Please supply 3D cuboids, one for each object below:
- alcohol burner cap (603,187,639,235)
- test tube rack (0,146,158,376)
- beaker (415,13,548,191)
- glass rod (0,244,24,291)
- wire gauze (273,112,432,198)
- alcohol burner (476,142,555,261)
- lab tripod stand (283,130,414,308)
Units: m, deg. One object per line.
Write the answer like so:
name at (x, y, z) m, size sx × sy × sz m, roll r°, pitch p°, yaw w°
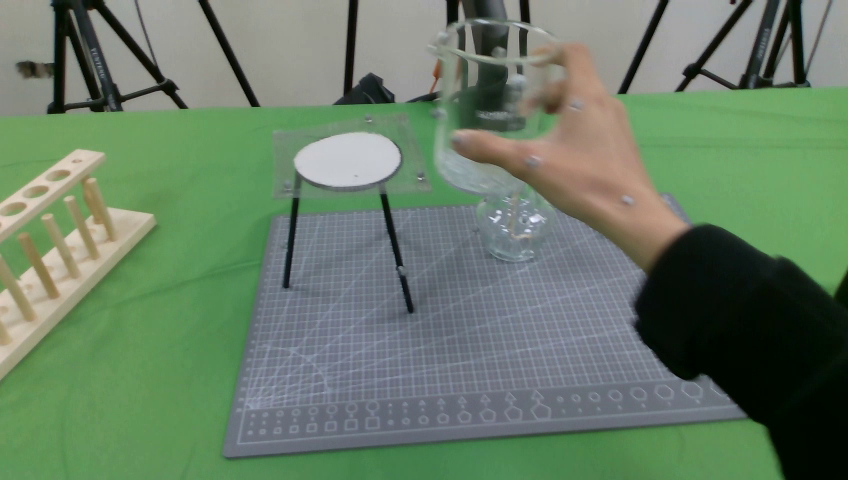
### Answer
alcohol burner cap at (0.207, -0.033, 0.632) m, size 0.034 × 0.048 × 0.033 m, roll -1°, pitch 38°, yaw 1°
test tube rack at (-0.352, 0.014, 0.548) m, size 0.066 × 0.086 × 0.240 m, roll 9°, pitch 39°, yaw 12°
beaker at (0.035, -0.090, 0.407) m, size 0.084 × 0.101 × 0.073 m, roll -4°, pitch 38°, yaw -8°
glass rod at (-0.381, -0.037, 0.506) m, size 0.008 × 0.201 × 0.008 m, roll -4°, pitch 32°, yaw 3°
wire gauze at (-0.064, -0.071, 0.501) m, size 0.125 × 0.011 × 0.120 m, roll -7°, pitch 39°, yaw -7°
alcohol burner at (0.090, -0.040, 0.584) m, size 0.078 × 0.120 × 0.077 m, roll -1°, pitch 37°, yaw 1°
lab tripod stand at (-0.063, -0.019, 0.544) m, size 0.148 × 0.132 × 0.147 m, roll -1°, pitch 41°, yaw 1°
